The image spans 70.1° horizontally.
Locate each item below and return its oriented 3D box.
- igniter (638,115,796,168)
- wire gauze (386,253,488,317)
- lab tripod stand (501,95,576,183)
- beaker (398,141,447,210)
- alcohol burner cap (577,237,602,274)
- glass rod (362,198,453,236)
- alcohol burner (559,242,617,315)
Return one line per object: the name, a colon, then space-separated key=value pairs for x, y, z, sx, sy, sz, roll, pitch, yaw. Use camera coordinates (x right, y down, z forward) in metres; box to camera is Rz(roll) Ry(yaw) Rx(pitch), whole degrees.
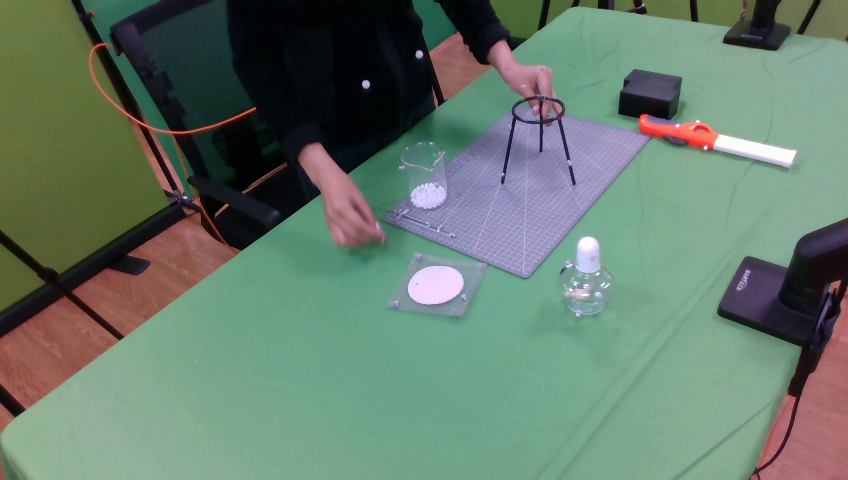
igniter: x=0.517 y=-0.181 z=1.093 sx=0.274 sy=0.025 sz=0.057 roll=23 pitch=65 yaw=32
wire gauze: x=0.021 y=0.066 z=0.910 sx=0.121 sy=0.011 sz=0.125 roll=9 pitch=41 yaw=20
lab tripod stand: x=0.204 y=-0.174 z=1.057 sx=0.148 sy=0.132 sz=0.147 roll=-4 pitch=40 yaw=4
beaker: x=0.002 y=-0.108 z=1.043 sx=0.074 sy=0.101 sz=0.083 roll=-19 pitch=42 yaw=-10
alcohol burner cap: x=0.217 y=0.018 z=0.793 sx=0.034 sy=0.048 sz=0.033 roll=-7 pitch=35 yaw=6
glass rod: x=-0.031 y=-0.041 z=1.040 sx=0.198 sy=0.008 sz=0.008 roll=22 pitch=50 yaw=31
alcohol burner: x=0.222 y=0.045 z=0.816 sx=0.078 sy=0.119 sz=0.077 roll=-4 pitch=42 yaw=4
